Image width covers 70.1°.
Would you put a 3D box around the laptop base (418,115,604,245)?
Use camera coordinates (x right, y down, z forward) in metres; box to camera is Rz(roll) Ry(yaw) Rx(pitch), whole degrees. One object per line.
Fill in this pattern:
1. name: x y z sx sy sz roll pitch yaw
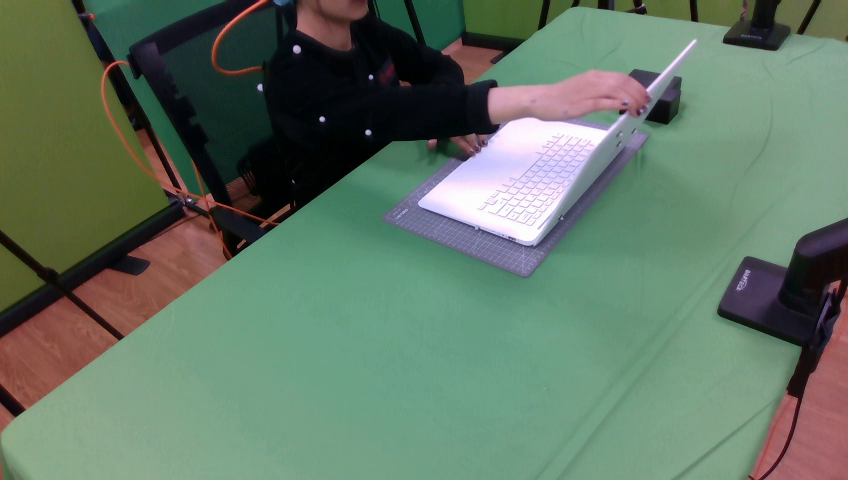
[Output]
1. laptop base: 0.183 -0.122 1.094 0.233 0.023 0.355 19 47 34

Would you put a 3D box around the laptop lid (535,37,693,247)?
1. laptop lid: 0.298 -0.153 0.940 0.013 0.242 0.357 37 54 14
